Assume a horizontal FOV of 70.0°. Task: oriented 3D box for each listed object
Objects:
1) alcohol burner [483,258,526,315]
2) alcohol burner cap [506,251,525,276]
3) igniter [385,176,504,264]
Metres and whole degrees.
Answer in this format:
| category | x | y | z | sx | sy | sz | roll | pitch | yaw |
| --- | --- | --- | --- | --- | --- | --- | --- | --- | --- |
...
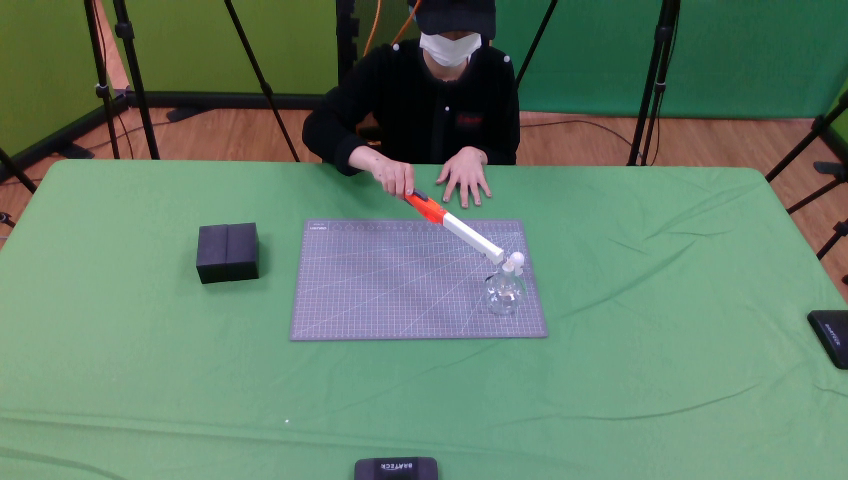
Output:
| category | x | y | z | sx | sy | sz | roll | pitch | yaw |
| --- | --- | --- | --- | --- | --- | --- | --- | --- | --- |
| alcohol burner | 0.143 | 0.076 | 1.067 | 0.078 | 0.120 | 0.077 | 1 | 45 | -1 |
| alcohol burner cap | 0.175 | 0.043 | 1.151 | 0.034 | 0.048 | 0.033 | 2 | 46 | -1 |
| igniter | 0.029 | -0.042 | 1.085 | 0.275 | 0.057 | 0.025 | 36 | 60 | 26 |
